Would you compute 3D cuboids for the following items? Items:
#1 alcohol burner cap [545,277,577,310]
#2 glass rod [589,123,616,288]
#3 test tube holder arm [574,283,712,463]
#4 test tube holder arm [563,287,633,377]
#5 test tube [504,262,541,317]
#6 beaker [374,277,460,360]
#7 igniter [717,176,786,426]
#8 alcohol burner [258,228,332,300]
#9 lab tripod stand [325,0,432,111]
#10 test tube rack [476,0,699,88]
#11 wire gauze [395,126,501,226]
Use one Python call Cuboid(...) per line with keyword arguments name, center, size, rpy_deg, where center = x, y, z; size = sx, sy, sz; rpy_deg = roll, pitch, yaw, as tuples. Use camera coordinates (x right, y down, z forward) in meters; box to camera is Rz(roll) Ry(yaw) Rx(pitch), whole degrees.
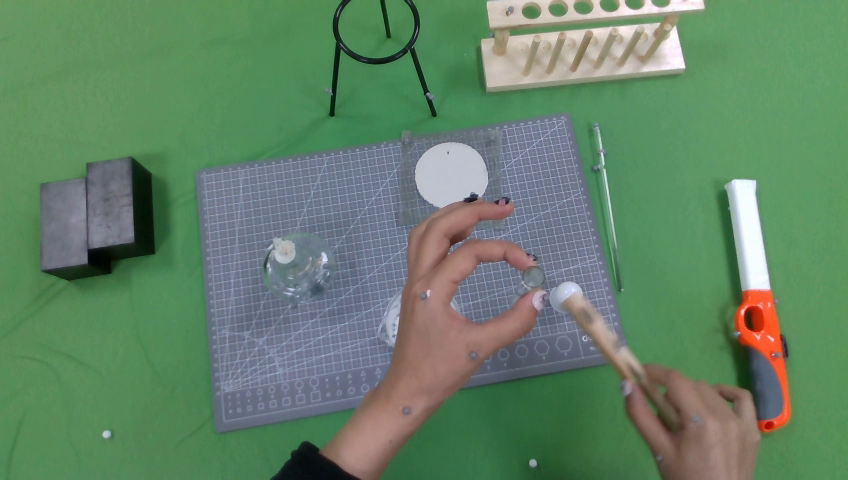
Cuboid(name="alcohol burner cap", center=(0.152, 0.056, 0.659), size=(0.034, 0.048, 0.033), rpy_deg=(0, 75, 0))
Cuboid(name="glass rod", center=(0.208, -0.043, 0.703), size=(0.008, 0.008, 0.199), rpy_deg=(-4, 79, -1))
Cuboid(name="test tube holder arm", center=(0.183, 0.112, 0.516), size=(0.013, 0.015, 0.177), rpy_deg=(-34, 79, -17))
Cuboid(name="test tube holder arm", center=(0.152, 0.079, 0.522), size=(0.010, 0.015, 0.087), rpy_deg=(-34, 79, -17))
Cuboid(name="test tube", center=(0.074, 0.042, 0.467), size=(0.017, 0.151, 0.017), rpy_deg=(-1, 74, 4))
Cuboid(name="beaker", center=(-0.007, 0.086, 0.621), size=(0.084, 0.101, 0.073), rpy_deg=(-17, 76, -3))
Cuboid(name="igniter", center=(0.360, 0.062, 0.669), size=(0.057, 0.025, 0.275), rpy_deg=(1, 76, -10))
Cuboid(name="alcohol burner", center=(-0.138, 0.021, 0.629), size=(0.078, 0.120, 0.077), rpy_deg=(-1, 75, 2))
Cuboid(name="lab tripod stand", center=(-0.055, -0.206, 0.679), size=(0.148, 0.132, 0.147), rpy_deg=(0, 78, 0))
Cuboid(name="test tube rack", center=(0.188, -0.240, 0.713), size=(0.242, 0.085, 0.066), rpy_deg=(-6, 76, -1))
Cuboid(name="wire gauze", center=(0.028, -0.077, 0.709), size=(0.125, 0.011, 0.121), rpy_deg=(2, 77, -1))
